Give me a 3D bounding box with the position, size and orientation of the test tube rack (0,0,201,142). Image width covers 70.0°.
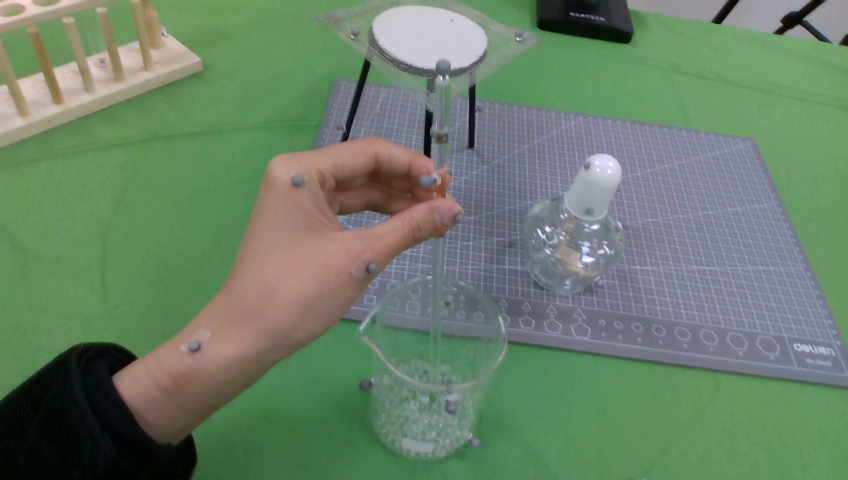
[{"bbox_3d":[-0.327,-0.164,0.531,0.066,0.086,0.242,39,54,23],"label":"test tube rack"}]

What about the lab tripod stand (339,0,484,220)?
[{"bbox_3d":[-0.004,-0.112,0.499,0.149,0.132,0.147,6,49,-6],"label":"lab tripod stand"}]

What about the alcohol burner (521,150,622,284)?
[{"bbox_3d":[0.115,-0.022,0.451,0.078,0.120,0.077,6,47,-6],"label":"alcohol burner"}]

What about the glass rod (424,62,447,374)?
[{"bbox_3d":[0.004,0.005,0.311,0.008,0.201,0.008,1,40,0],"label":"glass rod"}]

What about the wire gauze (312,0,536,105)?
[{"bbox_3d":[0.001,-0.156,0.448,0.124,0.011,0.121,40,55,22],"label":"wire gauze"}]

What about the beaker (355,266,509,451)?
[{"bbox_3d":[0.000,0.076,0.362,0.084,0.101,0.073,0,48,-7],"label":"beaker"}]

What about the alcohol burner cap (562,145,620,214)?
[{"bbox_3d":[0.119,-0.044,0.423,0.034,0.048,0.033,4,53,-5],"label":"alcohol burner cap"}]

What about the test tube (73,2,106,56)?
[{"bbox_3d":[-0.306,-0.231,0.526,0.017,0.151,0.017,3,45,-2],"label":"test tube"}]
